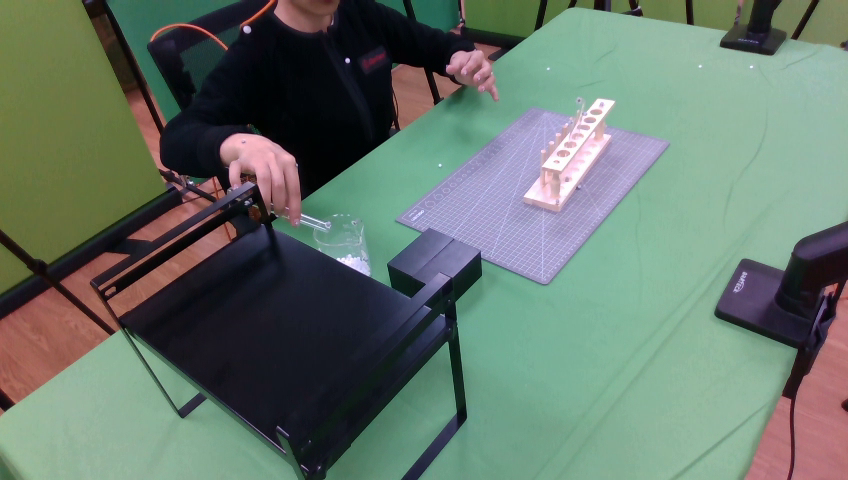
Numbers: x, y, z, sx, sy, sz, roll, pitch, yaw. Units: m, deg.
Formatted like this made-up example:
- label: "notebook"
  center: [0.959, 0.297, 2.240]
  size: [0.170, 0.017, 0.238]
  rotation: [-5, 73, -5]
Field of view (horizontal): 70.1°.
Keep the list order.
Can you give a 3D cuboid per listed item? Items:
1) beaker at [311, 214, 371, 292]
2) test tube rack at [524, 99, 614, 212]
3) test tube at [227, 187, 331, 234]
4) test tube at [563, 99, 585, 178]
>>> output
- label: "beaker"
  center: [-0.118, 0.022, 0.908]
  size: [0.083, 0.101, 0.074]
  rotation: [26, 51, 32]
- label: "test tube rack"
  center: [0.259, -0.158, 1.069]
  size: [0.066, 0.085, 0.243]
  rotation: [19, 47, 28]
- label: "test tube"
  center: [-0.202, -0.041, 0.847]
  size: [0.151, 0.017, 0.017]
  rotation: [21, 36, -21]
- label: "test tube"
  center: [0.247, -0.164, 1.001]
  size: [0.017, 0.151, 0.017]
  rotation: [-1, 42, 1]
